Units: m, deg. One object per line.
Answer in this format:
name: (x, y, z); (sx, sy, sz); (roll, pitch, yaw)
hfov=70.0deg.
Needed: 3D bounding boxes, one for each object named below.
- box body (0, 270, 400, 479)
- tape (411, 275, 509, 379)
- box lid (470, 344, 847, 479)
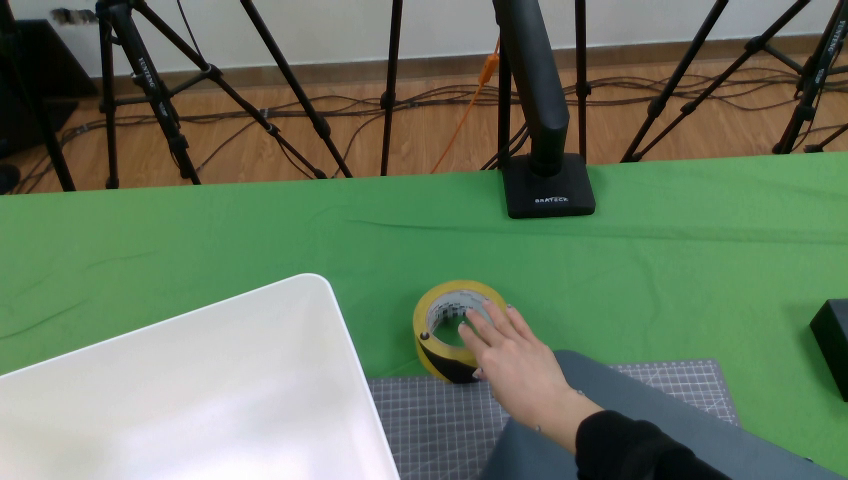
box body: (-0.217, 0.218, 0.551); (0.364, 0.162, 0.251); (-19, 52, -11)
tape: (0.040, 0.099, 0.702); (0.117, 0.053, 0.115); (-1, 48, 2)
box lid: (0.235, 0.271, 0.575); (0.369, 0.015, 0.262); (24, 57, 21)
